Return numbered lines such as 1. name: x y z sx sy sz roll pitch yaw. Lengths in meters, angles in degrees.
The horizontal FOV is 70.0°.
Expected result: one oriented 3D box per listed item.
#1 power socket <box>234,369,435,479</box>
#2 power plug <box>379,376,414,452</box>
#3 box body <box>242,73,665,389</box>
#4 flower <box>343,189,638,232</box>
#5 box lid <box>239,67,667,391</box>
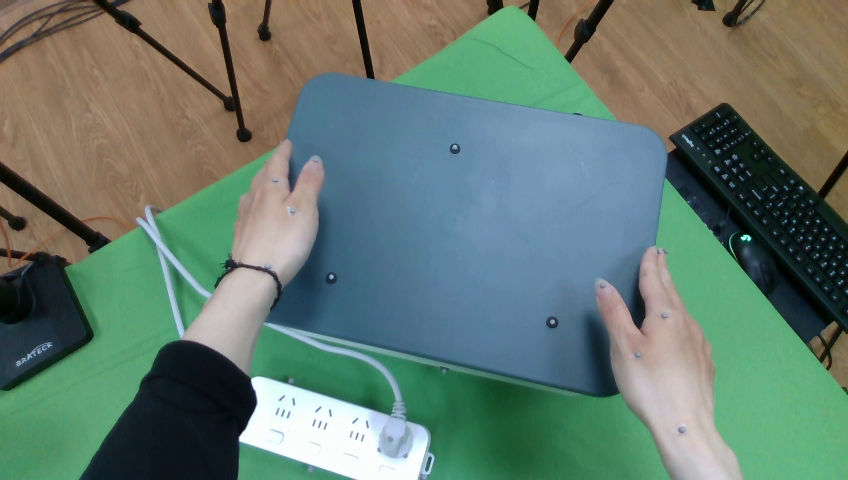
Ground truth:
1. power socket: -0.099 0.201 0.656 0.226 0.033 0.072 15 74 8
2. power plug: -0.020 0.185 0.632 0.035 0.053 0.072 25 71 12
3. box body: 0.035 0.001 0.642 0.363 0.161 0.253 11 74 7
4. flower: 0.063 -0.023 0.721 0.360 0.038 0.043 -3 62 22
5. box lid: 0.031 -0.022 0.571 0.371 0.015 0.262 11 75 7
